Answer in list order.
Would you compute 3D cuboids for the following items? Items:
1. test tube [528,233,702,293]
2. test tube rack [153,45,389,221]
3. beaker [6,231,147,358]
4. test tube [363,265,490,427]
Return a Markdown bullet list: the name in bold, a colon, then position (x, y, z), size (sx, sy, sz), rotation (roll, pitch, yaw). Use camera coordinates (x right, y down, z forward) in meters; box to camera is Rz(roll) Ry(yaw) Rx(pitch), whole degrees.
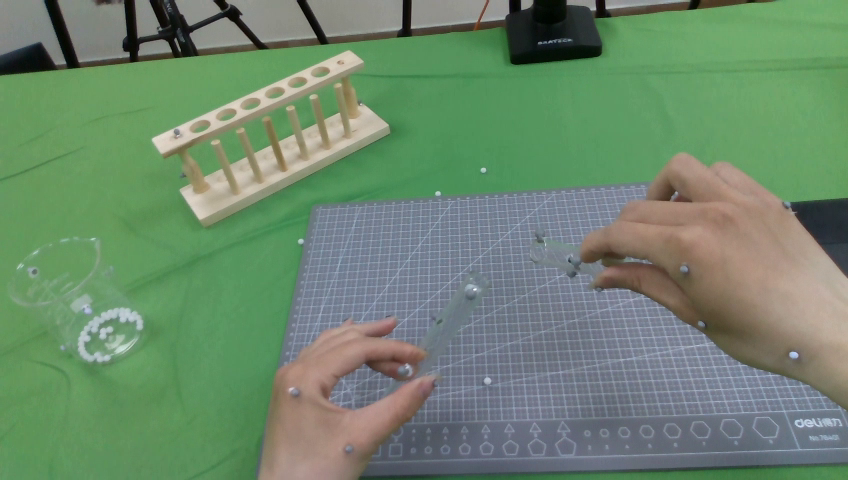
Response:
- **test tube**: position (0.128, 0.017, 0.390), size (0.151, 0.017, 0.017), rotation (12, 40, -30)
- **test tube rack**: position (-0.163, -0.124, 0.683), size (0.242, 0.086, 0.066), rotation (-31, 51, -19)
- **beaker**: position (-0.298, 0.050, 0.536), size (0.073, 0.101, 0.083), rotation (18, 53, 22)
- **test tube**: position (-0.002, 0.075, 0.397), size (0.017, 0.151, 0.017), rotation (25, 29, -15)
